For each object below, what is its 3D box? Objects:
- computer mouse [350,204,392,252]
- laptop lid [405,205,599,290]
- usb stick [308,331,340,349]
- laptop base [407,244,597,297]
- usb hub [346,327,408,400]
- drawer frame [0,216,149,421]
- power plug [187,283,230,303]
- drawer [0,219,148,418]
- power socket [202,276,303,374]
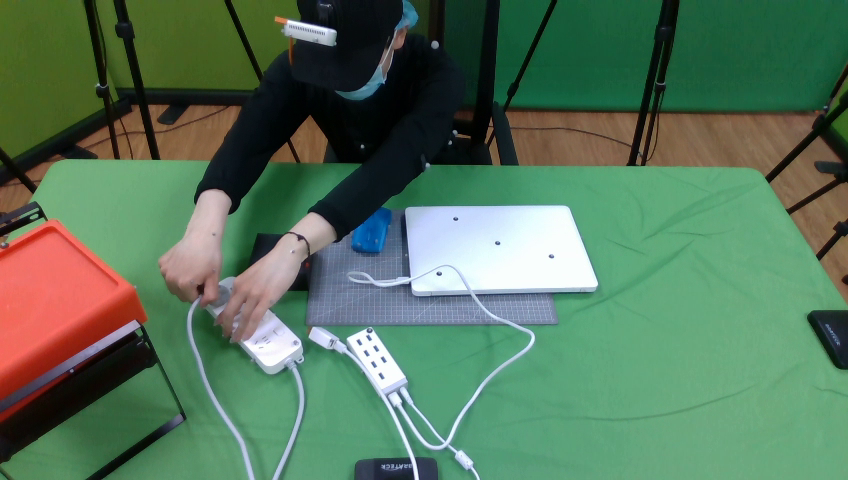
[{"bbox_3d":[-0.104,-0.027,1.202,0.063,0.041,0.116,11,51,4],"label":"computer mouse"},{"bbox_3d":[0.143,0.008,1.189,0.357,0.013,0.240,0,44,-5],"label":"laptop lid"},{"bbox_3d":[-0.173,0.167,1.021,0.059,0.021,0.027,10,1,24],"label":"usb stick"},{"bbox_3d":[0.143,0.018,1.196,0.355,0.023,0.234,-1,43,-6],"label":"laptop base"},{"bbox_3d":[-0.078,0.202,0.998,0.049,0.025,0.124,-23,53,-24],"label":"usb hub"},{"bbox_3d":[-0.510,0.093,0.780,0.201,0.083,0.213,31,52,23],"label":"drawer frame"},{"bbox_3d":[-0.370,0.097,1.038,0.072,0.053,0.035,-18,52,-26],"label":"power plug"},{"bbox_3d":[-0.509,0.093,0.783,0.193,0.073,0.211,32,53,24],"label":"drawer"},{"bbox_3d":[-0.295,0.141,1.034,0.072,0.033,0.225,-35,58,-30],"label":"power socket"}]
